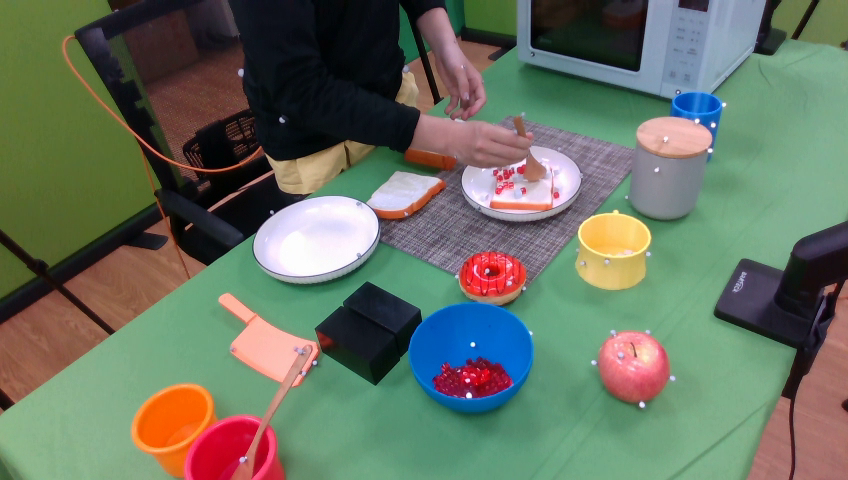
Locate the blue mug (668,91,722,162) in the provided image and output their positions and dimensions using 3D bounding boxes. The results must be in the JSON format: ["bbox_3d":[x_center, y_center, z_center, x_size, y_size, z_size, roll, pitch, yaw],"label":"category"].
[{"bbox_3d":[0.474,-0.207,1.079,0.082,0.106,0.116,4,42,13],"label":"blue mug"}]

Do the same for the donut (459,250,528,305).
[{"bbox_3d":[0.100,0.053,0.873,0.099,0.048,0.098,-5,40,4],"label":"donut"}]

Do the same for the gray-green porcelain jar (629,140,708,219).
[{"bbox_3d":[0.383,-0.104,0.958,0.106,0.127,0.105,-4,41,4],"label":"gray-green porcelain jar"}]

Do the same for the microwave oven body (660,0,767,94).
[{"bbox_3d":[0.473,-0.516,1.313,0.438,0.261,0.327,26,51,34],"label":"microwave oven body"}]

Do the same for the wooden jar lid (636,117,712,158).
[{"bbox_3d":[0.377,-0.151,0.917,0.108,0.021,0.108,-2,42,3],"label":"wooden jar lid"}]

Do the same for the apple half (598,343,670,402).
[{"bbox_3d":[0.247,0.161,0.710,0.081,0.075,0.053,2,47,5],"label":"apple half"}]

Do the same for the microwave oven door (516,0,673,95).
[{"bbox_3d":[0.344,-0.458,1.257,0.353,0.245,0.039,26,52,33],"label":"microwave oven door"}]

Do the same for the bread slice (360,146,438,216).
[{"bbox_3d":[-0.052,-0.103,1.046,0.106,0.018,0.134,19,66,23],"label":"bread slice"}]

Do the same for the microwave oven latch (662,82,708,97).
[{"bbox_3d":[0.518,-0.298,1.202,0.078,0.029,0.030,28,53,35],"label":"microwave oven latch"}]

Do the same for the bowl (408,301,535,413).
[{"bbox_3d":[0.060,0.156,0.739,0.151,0.077,0.150,-4,40,4],"label":"bowl"}]

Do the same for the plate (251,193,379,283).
[{"bbox_3d":[-0.174,-0.001,0.984,0.209,0.038,0.208,-4,41,4],"label":"plate"}]

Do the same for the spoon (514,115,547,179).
[{"bbox_3d":[0.163,-0.143,0.952,0.041,0.195,0.021,-16,61,14],"label":"spoon"}]

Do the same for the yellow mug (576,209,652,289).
[{"bbox_3d":[0.279,0.004,0.893,0.099,0.064,0.130,5,41,14],"label":"yellow mug"}]

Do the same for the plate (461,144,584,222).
[{"bbox_3d":[0.167,-0.095,1.040,0.207,0.039,0.206,-4,40,4],"label":"plate"}]

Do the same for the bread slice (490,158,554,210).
[{"bbox_3d":[0.173,-0.100,1.047,0.104,0.019,0.131,3,43,11],"label":"bread slice"}]

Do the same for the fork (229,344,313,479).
[{"bbox_3d":[-0.173,0.205,0.662,0.028,0.019,0.207,29,94,36],"label":"fork"}]

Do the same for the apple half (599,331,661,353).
[{"bbox_3d":[0.249,0.134,0.738,0.081,0.081,0.032,-1,46,7],"label":"apple half"}]

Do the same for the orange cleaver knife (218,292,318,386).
[{"bbox_3d":[-0.235,0.136,0.850,0.209,0.012,0.077,25,57,30],"label":"orange cleaver knife"}]
